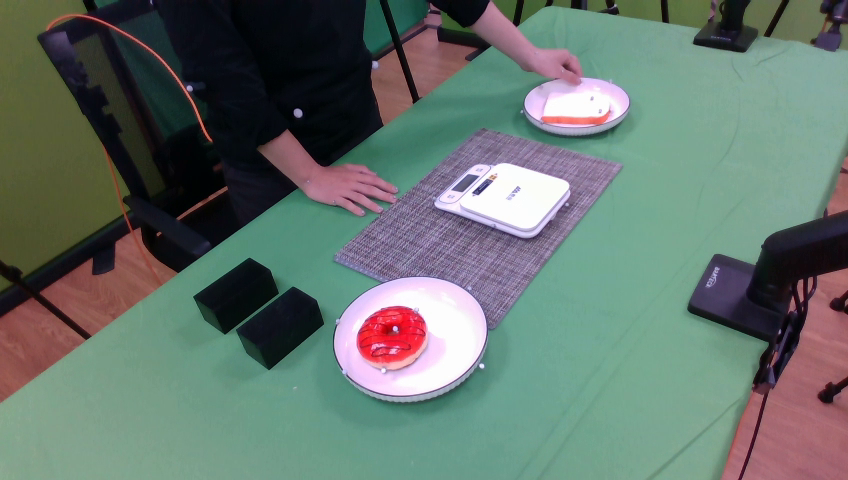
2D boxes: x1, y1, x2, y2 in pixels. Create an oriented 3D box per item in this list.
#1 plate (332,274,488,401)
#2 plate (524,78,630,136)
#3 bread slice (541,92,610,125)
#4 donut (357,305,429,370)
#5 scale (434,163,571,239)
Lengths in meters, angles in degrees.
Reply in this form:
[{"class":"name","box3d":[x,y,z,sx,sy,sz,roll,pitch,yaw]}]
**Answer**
[{"class":"plate","box3d":[-0.017,0.130,0.808,0.207,0.039,0.206,-4,41,4]},{"class":"plate","box3d":[0.307,-0.265,1.223,0.209,0.038,0.208,-4,40,4]},{"class":"bread slice","box3d":[0.310,-0.268,1.227,0.131,0.019,0.105,7,43,14]},{"class":"donut","box3d":[-0.041,0.127,0.798,0.099,0.048,0.098,-7,40,7]},{"class":"scale","box3d":[0.132,-0.075,1.025,0.199,0.032,0.149,22,48,30]}]
